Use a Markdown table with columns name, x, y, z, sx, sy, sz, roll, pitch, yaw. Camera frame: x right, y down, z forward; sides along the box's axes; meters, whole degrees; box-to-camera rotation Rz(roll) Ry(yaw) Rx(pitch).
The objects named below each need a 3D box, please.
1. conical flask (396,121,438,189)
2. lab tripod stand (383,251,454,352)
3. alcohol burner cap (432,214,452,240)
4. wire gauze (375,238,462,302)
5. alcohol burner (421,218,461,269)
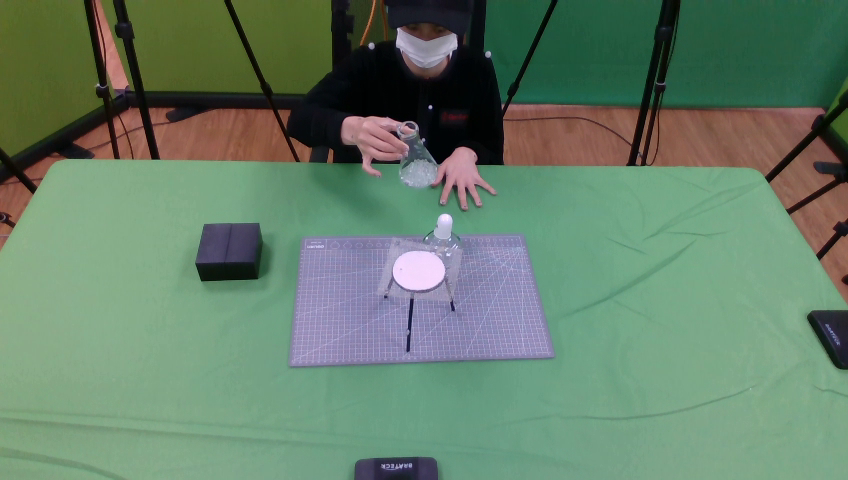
| name | x | y | z | sx | sy | sz | roll | pitch | yaw |
| --- | --- | --- | --- | --- | --- | --- | --- | --- | --- |
| conical flask | -0.019 | -0.155 | 1.082 | 0.075 | 0.122 | 0.075 | -5 | 53 | 7 |
| lab tripod stand | -0.015 | 0.094 | 1.025 | 0.148 | 0.132 | 0.147 | 1 | 46 | -1 |
| alcohol burner cap | 0.035 | -0.027 | 1.110 | 0.034 | 0.048 | 0.033 | 7 | 43 | -6 |
| wire gauze | -0.006 | 0.048 | 0.977 | 0.121 | 0.011 | 0.124 | 9 | 45 | 5 |
| alcohol burner | 0.033 | -0.001 | 1.135 | 0.078 | 0.119 | 0.077 | 2 | 48 | -2 |
